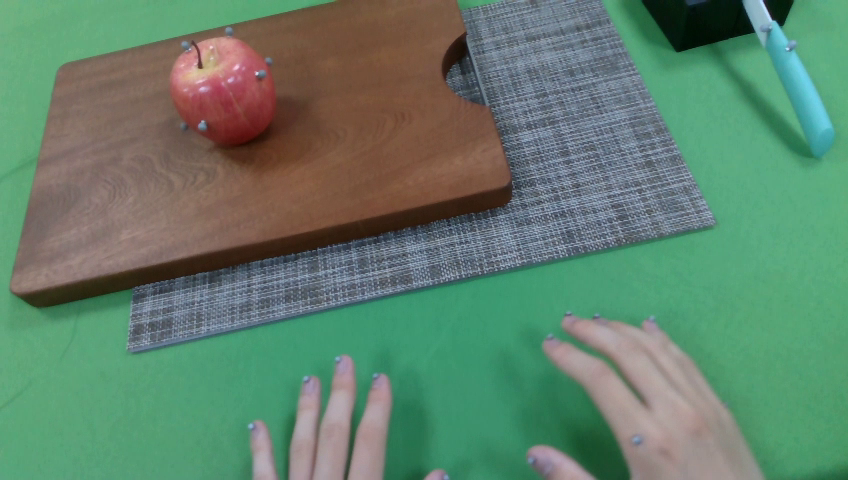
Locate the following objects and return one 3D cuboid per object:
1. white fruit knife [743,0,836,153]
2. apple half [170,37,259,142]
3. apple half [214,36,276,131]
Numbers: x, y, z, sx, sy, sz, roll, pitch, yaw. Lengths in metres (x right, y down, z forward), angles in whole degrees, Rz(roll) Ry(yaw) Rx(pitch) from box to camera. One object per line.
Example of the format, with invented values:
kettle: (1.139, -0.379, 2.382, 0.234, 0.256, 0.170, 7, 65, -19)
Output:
white fruit knife: (0.280, -0.166, 0.488, 0.016, 0.027, 0.206, -15, 72, -1)
apple half: (-0.176, -0.117, 0.498, 0.053, 0.075, 0.080, -23, 62, 0)
apple half: (-0.140, -0.132, 0.500, 0.033, 0.082, 0.080, -23, 58, -1)
